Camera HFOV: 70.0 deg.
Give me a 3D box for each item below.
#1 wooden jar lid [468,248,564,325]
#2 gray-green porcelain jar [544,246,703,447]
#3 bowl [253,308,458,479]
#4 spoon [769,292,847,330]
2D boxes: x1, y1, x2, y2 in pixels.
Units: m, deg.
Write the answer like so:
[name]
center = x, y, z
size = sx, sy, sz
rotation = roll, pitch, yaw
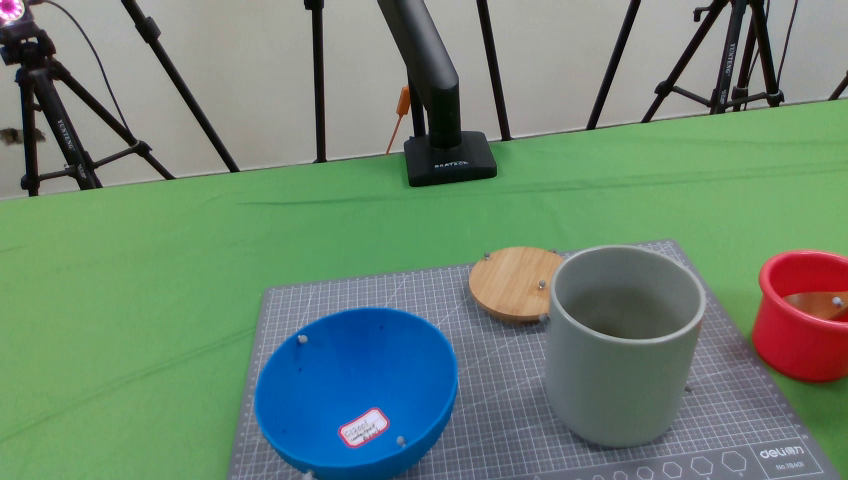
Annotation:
[wooden jar lid]
center = 0.098, 0.048, 0.610
size = 0.108, 0.021, 0.107
rotation = -4, 35, 3
[gray-green porcelain jar]
center = 0.146, 0.085, 0.462
size = 0.106, 0.127, 0.105
rotation = -4, 37, 3
[bowl]
center = -0.047, 0.131, 0.467
size = 0.151, 0.077, 0.150
rotation = -4, 37, 3
[spoon]
center = 0.363, 0.039, 0.466
size = 0.022, 0.193, 0.041
rotation = 42, 57, -9
